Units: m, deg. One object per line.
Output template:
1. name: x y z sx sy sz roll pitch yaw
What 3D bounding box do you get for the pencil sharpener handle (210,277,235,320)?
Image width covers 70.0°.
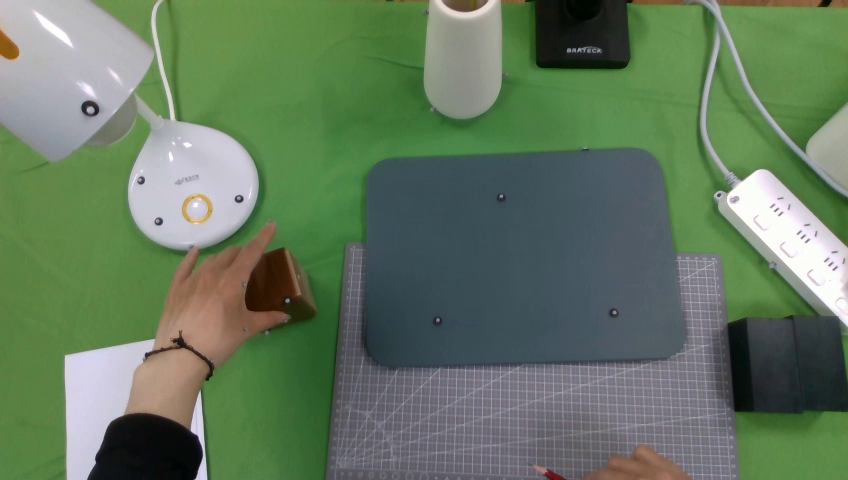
1. pencil sharpener handle: -0.221 0.068 0.657 0.030 0.068 0.035 -18 62 -4

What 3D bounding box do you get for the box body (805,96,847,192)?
1. box body: 0.656 -0.086 0.659 0.254 0.161 0.362 -41 77 -9

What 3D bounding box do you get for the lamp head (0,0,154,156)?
1. lamp head: -0.266 -0.136 0.405 0.112 0.124 0.111 -27 39 24

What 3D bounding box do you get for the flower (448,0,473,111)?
1. flower: 0.053 -0.264 0.621 0.044 0.364 0.038 -22 63 -20

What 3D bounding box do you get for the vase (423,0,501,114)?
1. vase: 0.046 -0.228 0.697 0.098 0.201 0.097 0 73 1

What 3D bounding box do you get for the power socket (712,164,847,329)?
1. power socket: 0.441 0.005 0.708 0.072 0.033 0.225 -37 77 -8

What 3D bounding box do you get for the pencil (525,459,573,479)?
1. pencil: 0.187 0.262 0.601 0.194 0.012 0.012 27 77 1

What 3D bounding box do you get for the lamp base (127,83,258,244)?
1. lamp base: -0.296 -0.103 0.682 0.160 0.181 0.178 -28 73 -6

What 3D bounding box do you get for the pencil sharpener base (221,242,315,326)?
1. pencil sharpener base: -0.173 0.052 0.674 0.077 0.107 0.061 -18 75 -4

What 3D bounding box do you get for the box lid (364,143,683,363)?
1. box lid: 0.113 0.010 0.727 0.371 0.015 0.261 -2 75 1
